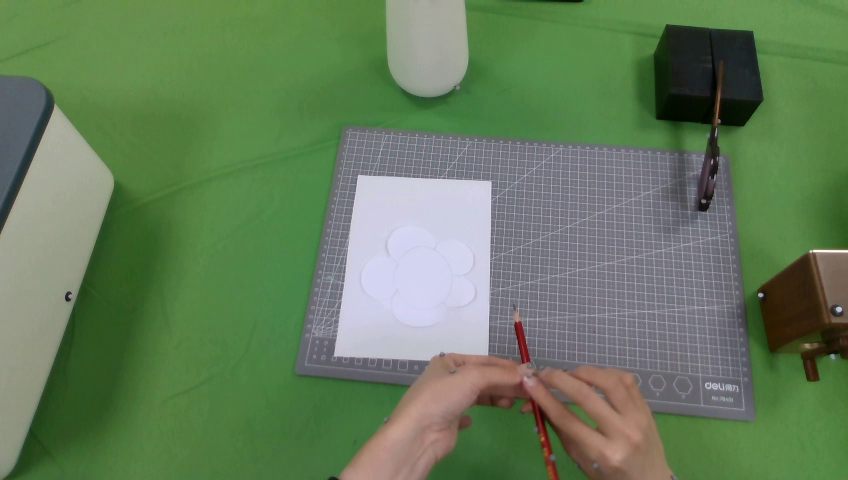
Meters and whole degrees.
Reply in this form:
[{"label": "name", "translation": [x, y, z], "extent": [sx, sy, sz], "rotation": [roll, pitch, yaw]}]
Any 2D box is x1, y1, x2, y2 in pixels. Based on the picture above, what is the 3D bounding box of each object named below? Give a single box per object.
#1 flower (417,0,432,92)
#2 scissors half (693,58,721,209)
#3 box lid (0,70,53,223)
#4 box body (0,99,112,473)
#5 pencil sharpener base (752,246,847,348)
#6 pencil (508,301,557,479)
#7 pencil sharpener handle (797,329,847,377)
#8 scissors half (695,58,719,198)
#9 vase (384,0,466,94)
[{"label": "flower", "translation": [-0.009, -0.300, 0.595], "extent": [0.044, 0.365, 0.038], "rotation": [-2, 48, 4]}, {"label": "scissors half", "translation": [0.314, -0.119, 0.667], "extent": [0.012, 0.040, 0.175], "rotation": [9, 85, 20]}, {"label": "box lid", "translation": [-0.491, -0.001, 0.504], "extent": [0.263, 0.015, 0.369], "rotation": [5, 66, 3]}, {"label": "box body", "translation": [-0.489, 0.032, 0.572], "extent": [0.254, 0.161, 0.361], "rotation": [5, 67, 4]}, {"label": "pencil sharpener base", "translation": [0.369, 0.060, 0.572], "extent": [0.061, 0.108, 0.076], "rotation": [1, 67, 2]}, {"label": "pencil", "translation": [0.086, 0.132, 0.470], "extent": [0.012, 0.012, 0.192], "rotation": [-8, 57, -2]}, {"label": "pencil sharpener handle", "translation": [0.363, 0.102, 0.540], "extent": [0.036, 0.068, 0.030], "rotation": [6, 66, -11]}, {"label": "scissors half", "translation": [0.308, -0.125, 0.648], "extent": [0.013, 0.040, 0.174], "rotation": [10, 68, 15]}, {"label": "vase", "translation": [-0.001, -0.254, 0.666], "extent": [0.098, 0.201, 0.097], "rotation": [-1, 65, 2]}]
